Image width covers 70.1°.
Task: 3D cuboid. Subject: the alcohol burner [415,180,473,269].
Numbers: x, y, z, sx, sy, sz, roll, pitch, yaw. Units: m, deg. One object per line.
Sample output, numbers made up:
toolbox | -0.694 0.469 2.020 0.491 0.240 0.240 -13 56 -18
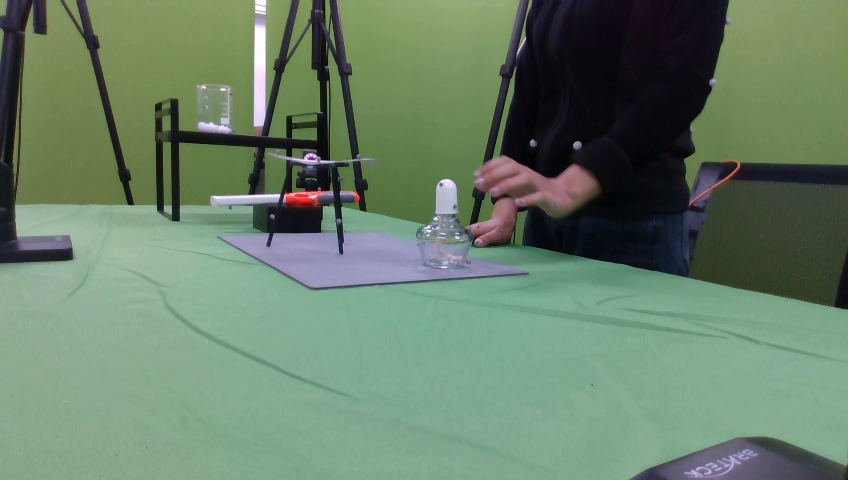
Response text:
alcohol burner | 0.028 -0.021 0.807 0.078 0.119 0.078 3 5 0

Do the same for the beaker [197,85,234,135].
beaker | -0.444 -0.275 1.283 0.074 0.100 0.084 5 8 22

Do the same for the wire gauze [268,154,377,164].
wire gauze | -0.154 -0.120 0.910 0.122 0.011 0.124 -5 11 -44

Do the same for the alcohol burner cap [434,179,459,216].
alcohol burner cap | 0.030 -0.057 0.802 0.034 0.048 0.034 -1 10 0

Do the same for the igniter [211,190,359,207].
igniter | -0.257 -0.079 1.148 0.278 0.025 0.057 -4 12 -30

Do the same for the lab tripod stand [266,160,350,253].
lab tripod stand | -0.163 -0.054 0.915 0.148 0.131 0.148 2 9 0
